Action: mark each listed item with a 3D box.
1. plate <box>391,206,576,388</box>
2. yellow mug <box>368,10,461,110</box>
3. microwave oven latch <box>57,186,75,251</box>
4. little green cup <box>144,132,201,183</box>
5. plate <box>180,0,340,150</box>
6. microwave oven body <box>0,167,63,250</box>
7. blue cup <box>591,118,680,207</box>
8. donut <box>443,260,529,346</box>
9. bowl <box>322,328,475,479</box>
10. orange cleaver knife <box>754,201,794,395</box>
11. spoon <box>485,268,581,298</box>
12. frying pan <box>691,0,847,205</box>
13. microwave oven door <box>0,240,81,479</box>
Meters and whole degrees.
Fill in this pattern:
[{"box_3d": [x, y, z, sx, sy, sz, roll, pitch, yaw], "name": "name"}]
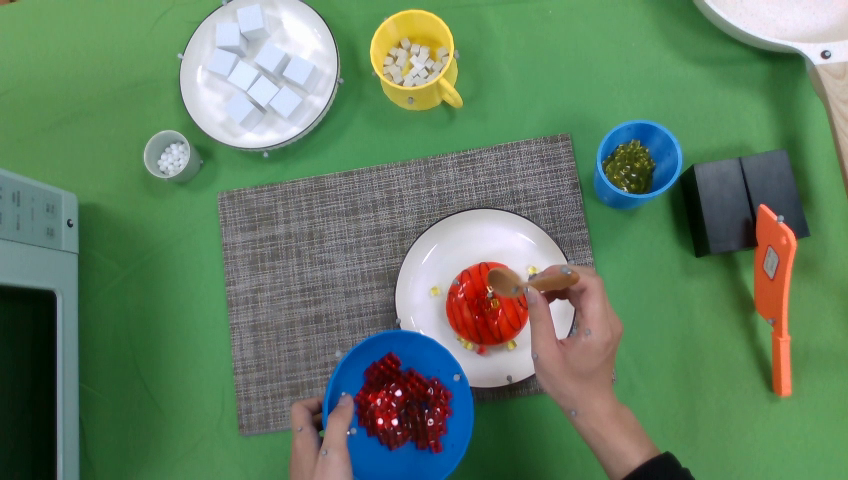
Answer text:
[{"box_3d": [0.068, 0.065, 0.702, 0.209, 0.038, 0.208, -1, 83, 7], "name": "plate"}, {"box_3d": [-0.002, -0.208, 0.738, 0.130, 0.064, 0.100, 44, 89, 9], "name": "yellow mug"}, {"box_3d": [-0.458, -0.027, 0.760, 0.030, 0.029, 0.079, -3, 82, 6], "name": "microwave oven latch"}, {"box_3d": [-0.318, -0.103, 0.772, 0.061, 0.039, 0.061, -1, 82, 5], "name": "little green cup"}, {"box_3d": [-0.206, -0.213, 0.776, 0.207, 0.039, 0.207, -1, 82, 7], "name": "plate"}, {"box_3d": [-0.600, 0.149, 0.654, 0.326, 0.261, 0.440, -6, 82, 5], "name": "microwave oven body"}, {"box_3d": [0.226, -0.077, 0.676, 0.092, 0.100, 0.092, -1, 80, 5], "name": "blue cup"}, {"box_3d": [0.070, 0.072, 0.690, 0.099, 0.048, 0.099, -1, 86, 7], "name": "donut"}, {"box_3d": [-0.035, 0.168, 0.598, 0.152, 0.077, 0.150, 8, 70, -22], "name": "bowl"}, {"box_3d": [0.373, 0.064, 0.649, 0.012, 0.076, 0.212, -10, 110, 6], "name": "orange cleaver knife"}, {"box_3d": [0.095, 0.039, 0.546, 0.042, 0.193, 0.021, 45, 80, -5], "name": "spoon"}, {"box_3d": [0.435, -0.251, 0.674, 0.306, 0.103, 0.485, -4, 74, 7], "name": "frying pan"}, {"box_3d": [-0.452, 0.175, 0.629, 0.039, 0.245, 0.354, -6, 81, 6], "name": "microwave oven door"}]
